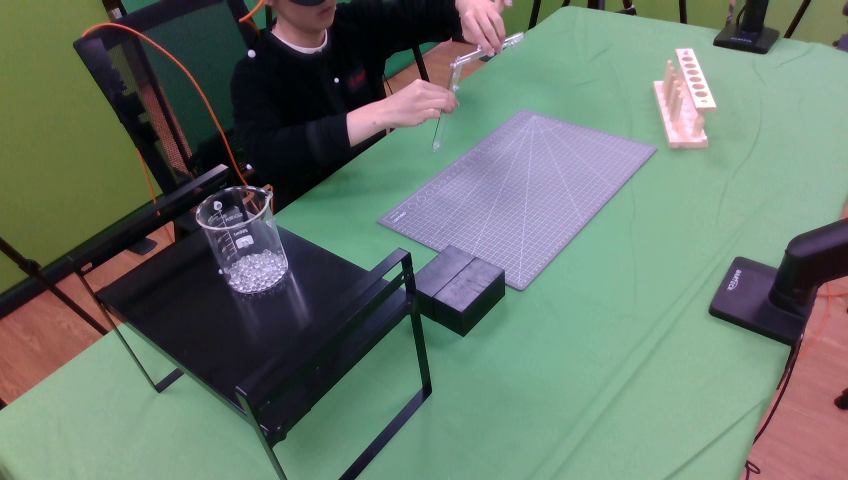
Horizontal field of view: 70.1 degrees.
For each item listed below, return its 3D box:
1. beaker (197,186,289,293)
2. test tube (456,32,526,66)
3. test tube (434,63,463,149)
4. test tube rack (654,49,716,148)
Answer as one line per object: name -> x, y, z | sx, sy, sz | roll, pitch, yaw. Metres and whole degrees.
beaker -> -0.192, 0.001, 0.666 | 0.084, 0.101, 0.073 | -33, 47, -27
test tube -> 0.118, -0.331, 1.043 | 0.151, 0.017, 0.017 | -28, 45, -23
test tube -> 0.041, -0.230, 1.043 | 0.017, 0.150, 0.017 | 13, 21, -5
test tube rack -> 0.502, -0.281, 1.176 | 0.066, 0.085, 0.241 | 1, 41, 11
